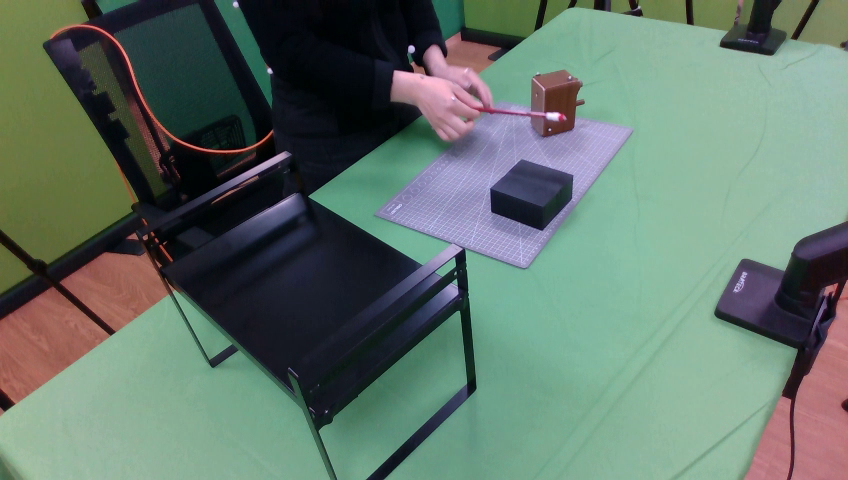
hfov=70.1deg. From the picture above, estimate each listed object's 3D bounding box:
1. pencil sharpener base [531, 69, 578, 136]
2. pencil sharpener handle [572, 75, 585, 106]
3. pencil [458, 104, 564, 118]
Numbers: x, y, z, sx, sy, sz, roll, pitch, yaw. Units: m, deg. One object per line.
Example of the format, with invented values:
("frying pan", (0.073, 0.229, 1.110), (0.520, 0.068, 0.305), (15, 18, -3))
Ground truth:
("pencil sharpener base", (0.256, -0.268, 1.179), (0.077, 0.107, 0.061), (-15, 41, -9))
("pencil sharpener handle", (0.303, -0.292, 1.181), (0.031, 0.068, 0.035), (-15, 49, -9))
("pencil", (0.145, -0.222, 1.032), (0.193, 0.012, 0.012), (12, 44, 27))
